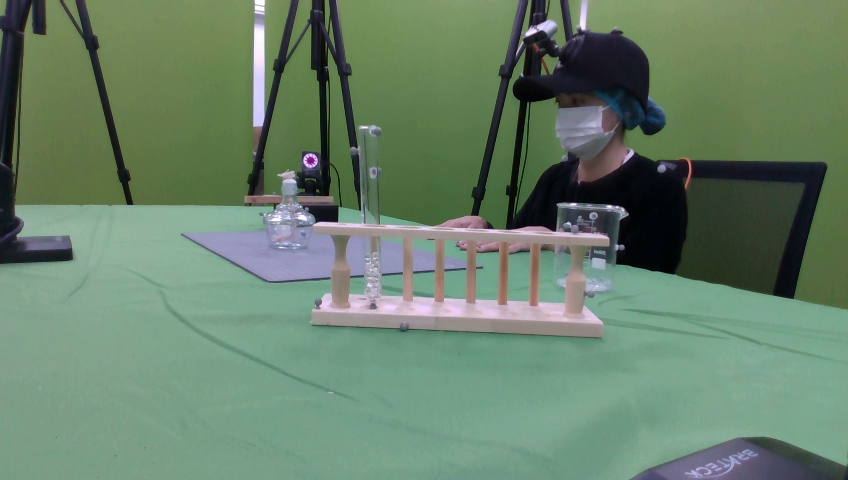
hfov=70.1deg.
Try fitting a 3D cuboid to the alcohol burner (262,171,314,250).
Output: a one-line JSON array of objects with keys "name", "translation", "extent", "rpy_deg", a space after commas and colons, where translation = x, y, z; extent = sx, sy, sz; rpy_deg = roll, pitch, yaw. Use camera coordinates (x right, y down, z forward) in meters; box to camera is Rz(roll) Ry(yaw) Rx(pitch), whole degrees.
[{"name": "alcohol burner", "translation": [-0.205, -0.045, 0.913], "extent": [0.078, 0.119, 0.078], "rpy_deg": [1, 9, 0]}]

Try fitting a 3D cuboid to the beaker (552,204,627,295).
[{"name": "beaker", "translation": [0.191, 0.010, 0.708], "extent": [0.083, 0.100, 0.074], "rpy_deg": [8, 9, 33]}]

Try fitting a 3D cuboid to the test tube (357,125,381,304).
[{"name": "test tube", "translation": [-0.045, -0.019, 0.501], "extent": [0.017, 0.150, 0.017], "rpy_deg": [-1, 12, 0]}]

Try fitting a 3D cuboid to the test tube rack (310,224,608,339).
[{"name": "test tube rack", "translation": [0.028, 0.032, 0.528], "extent": [0.242, 0.085, 0.067], "rpy_deg": [3, 7, 0]}]

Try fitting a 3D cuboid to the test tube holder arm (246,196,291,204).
[{"name": "test tube holder arm", "translation": [-0.300, -0.077, 1.168], "extent": [0.088, 0.015, 0.010], "rpy_deg": [-3, 19, -36]}]

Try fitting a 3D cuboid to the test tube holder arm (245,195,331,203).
[{"name": "test tube holder arm", "translation": [-0.266, -0.080, 1.199], "extent": [0.179, 0.015, 0.013], "rpy_deg": [-3, 19, -37]}]

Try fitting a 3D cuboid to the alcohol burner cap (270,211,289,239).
[{"name": "alcohol burner cap", "translation": [-0.246, -0.026, 1.035], "extent": [0.034, 0.048, 0.034], "rpy_deg": [2, 8, 0]}]
